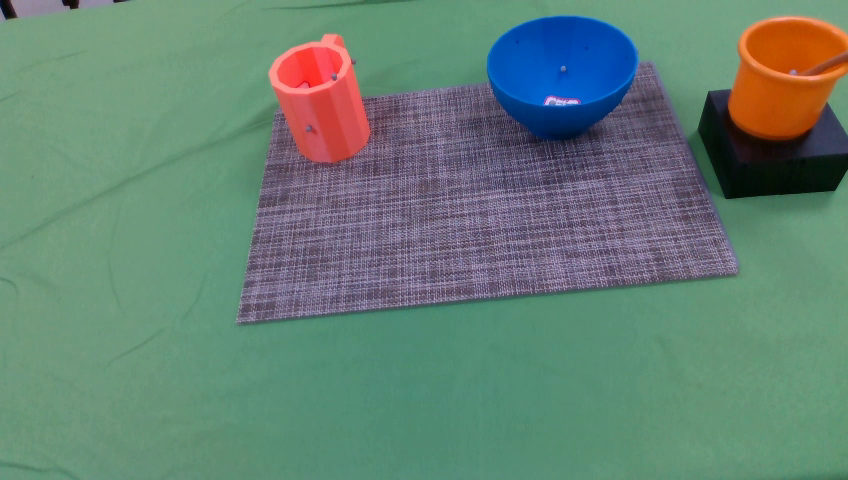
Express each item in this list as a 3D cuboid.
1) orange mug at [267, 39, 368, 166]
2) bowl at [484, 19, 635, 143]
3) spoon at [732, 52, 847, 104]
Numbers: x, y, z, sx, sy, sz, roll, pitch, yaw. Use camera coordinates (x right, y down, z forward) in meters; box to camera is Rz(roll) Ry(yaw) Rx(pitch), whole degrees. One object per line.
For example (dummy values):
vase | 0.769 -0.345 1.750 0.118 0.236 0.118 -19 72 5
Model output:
orange mug | -0.110 -0.160 0.670 0.083 0.102 0.125 4 58 12
bowl | 0.140 -0.157 0.642 0.151 0.077 0.150 -4 52 5
spoon | 0.341 -0.144 0.496 0.041 0.193 0.022 -35 99 -21
